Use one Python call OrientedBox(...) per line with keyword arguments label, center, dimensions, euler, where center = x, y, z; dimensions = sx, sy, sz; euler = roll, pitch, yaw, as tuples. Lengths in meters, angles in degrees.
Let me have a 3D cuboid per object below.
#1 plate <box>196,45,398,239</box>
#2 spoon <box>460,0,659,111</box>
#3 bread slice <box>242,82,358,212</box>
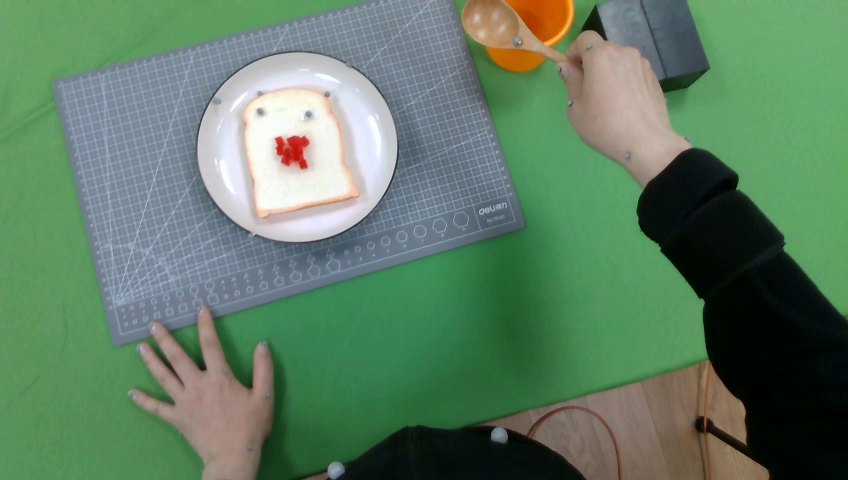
OrientedBox(label="plate", center=(-0.131, -0.102, 0.643), dimensions=(0.209, 0.038, 0.208), euler=(1, 82, -3))
OrientedBox(label="spoon", center=(0.115, -0.161, 0.525), dimensions=(0.193, 0.022, 0.041), euler=(34, 99, 12))
OrientedBox(label="bread slice", center=(-0.139, -0.101, 0.644), dimensions=(0.107, 0.018, 0.134), euler=(-16, 83, -6))
